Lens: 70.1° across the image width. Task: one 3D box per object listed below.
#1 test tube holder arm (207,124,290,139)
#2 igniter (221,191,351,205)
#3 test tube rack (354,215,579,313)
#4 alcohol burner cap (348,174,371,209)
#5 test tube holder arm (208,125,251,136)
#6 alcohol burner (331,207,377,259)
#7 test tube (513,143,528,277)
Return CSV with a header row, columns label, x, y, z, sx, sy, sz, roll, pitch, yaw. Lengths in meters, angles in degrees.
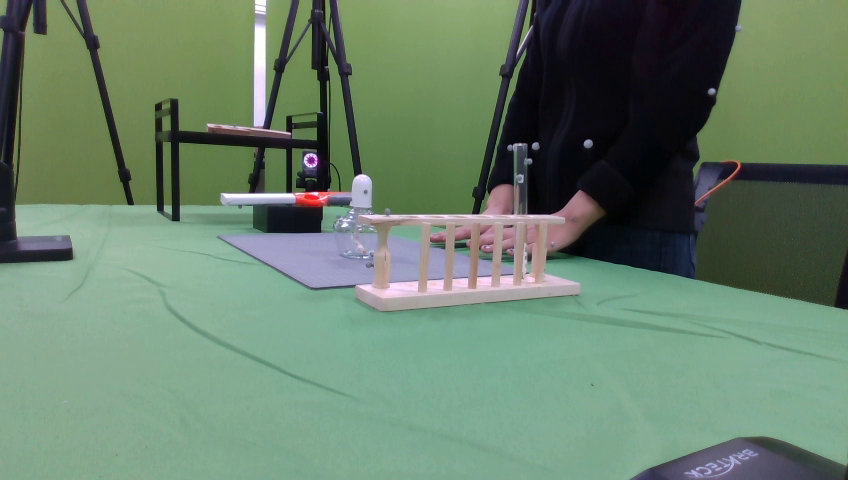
label,x,y,z,sx,sy,sz,roll,pitch,yaw
test tube holder arm,-0.381,-0.237,1.327,0.179,0.015,0.013,0,42,-32
igniter,-0.239,-0.079,1.149,0.278,0.025,0.057,-3,20,-31
test tube rack,0.053,0.019,0.635,0.243,0.085,0.066,-1,8,-29
alcohol burner cap,-0.089,-0.068,0.849,0.034,0.048,0.034,3,10,0
test tube holder arm,-0.418,-0.234,1.299,0.088,0.015,0.010,1,41,-32
alcohol burner,-0.091,-0.033,0.855,0.078,0.119,0.078,4,7,0
test tube,0.108,-0.033,0.677,0.017,0.150,0.017,-1,8,1
